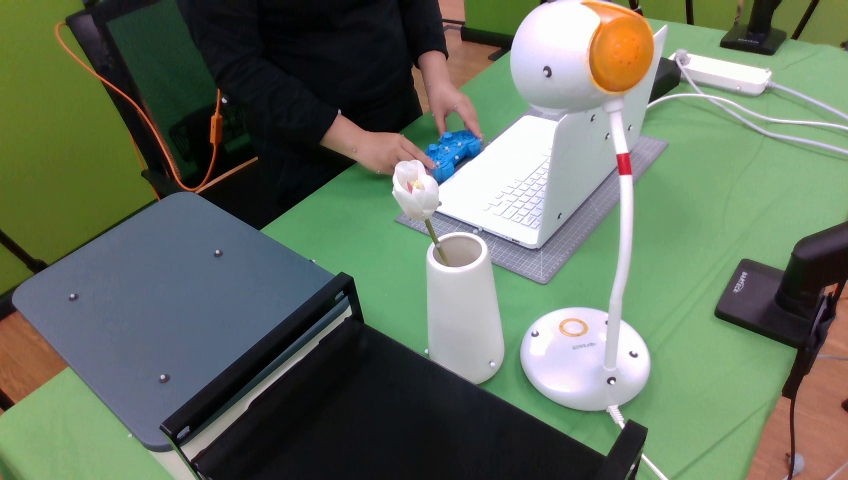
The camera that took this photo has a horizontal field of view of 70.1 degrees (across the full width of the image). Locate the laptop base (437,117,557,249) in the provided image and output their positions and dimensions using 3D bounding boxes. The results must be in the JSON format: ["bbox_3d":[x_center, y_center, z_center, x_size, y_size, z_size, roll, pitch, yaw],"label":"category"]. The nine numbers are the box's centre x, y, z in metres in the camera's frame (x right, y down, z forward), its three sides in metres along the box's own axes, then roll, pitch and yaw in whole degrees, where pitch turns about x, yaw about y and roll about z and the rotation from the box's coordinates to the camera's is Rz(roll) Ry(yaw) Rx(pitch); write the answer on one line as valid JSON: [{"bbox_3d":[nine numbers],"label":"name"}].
[{"bbox_3d":[0.192,-0.117,1.087,0.233,0.023,0.355,21,48,34],"label":"laptop base"}]

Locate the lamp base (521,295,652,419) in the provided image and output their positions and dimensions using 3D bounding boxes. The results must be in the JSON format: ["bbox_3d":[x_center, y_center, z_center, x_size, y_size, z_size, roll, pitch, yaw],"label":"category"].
[{"bbox_3d":[0.200,0.095,0.710,0.161,0.181,0.177,-16,43,-10],"label":"lamp base"}]

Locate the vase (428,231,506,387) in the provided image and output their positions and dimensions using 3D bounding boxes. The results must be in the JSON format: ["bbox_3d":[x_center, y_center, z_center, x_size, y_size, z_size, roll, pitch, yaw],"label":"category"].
[{"bbox_3d":[0.050,0.087,0.728,0.098,0.201,0.097,-3,40,3],"label":"vase"}]

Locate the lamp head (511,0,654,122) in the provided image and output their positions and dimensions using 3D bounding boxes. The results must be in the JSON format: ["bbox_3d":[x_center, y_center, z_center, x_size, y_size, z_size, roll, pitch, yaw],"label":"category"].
[{"bbox_3d":[0.155,-0.168,0.564,0.113,0.113,0.122,-18,23,-12],"label":"lamp head"}]

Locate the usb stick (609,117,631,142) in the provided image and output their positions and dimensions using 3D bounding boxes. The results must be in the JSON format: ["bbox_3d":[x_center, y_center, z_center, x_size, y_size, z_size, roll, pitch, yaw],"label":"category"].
[{"bbox_3d":[0.370,-0.208,1.147,0.021,0.027,0.059,26,55,32],"label":"usb stick"}]

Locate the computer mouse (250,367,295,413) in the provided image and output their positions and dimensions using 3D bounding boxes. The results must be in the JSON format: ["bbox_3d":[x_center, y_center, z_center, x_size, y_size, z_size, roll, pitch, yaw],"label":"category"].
[{"bbox_3d":[-0.196,0.181,0.772,0.063,0.041,0.116,-12,47,-11],"label":"computer mouse"}]

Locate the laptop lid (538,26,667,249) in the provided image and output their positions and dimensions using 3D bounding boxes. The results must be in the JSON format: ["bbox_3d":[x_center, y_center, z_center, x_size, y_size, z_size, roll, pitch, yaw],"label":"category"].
[{"bbox_3d":[0.281,-0.163,0.942,0.013,0.242,0.358,28,50,27],"label":"laptop lid"}]

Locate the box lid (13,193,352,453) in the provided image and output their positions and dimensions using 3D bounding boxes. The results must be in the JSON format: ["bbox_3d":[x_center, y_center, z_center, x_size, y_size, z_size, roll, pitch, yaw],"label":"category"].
[{"bbox_3d":[-0.291,0.067,0.716,0.368,0.015,0.264,25,50,33],"label":"box lid"}]

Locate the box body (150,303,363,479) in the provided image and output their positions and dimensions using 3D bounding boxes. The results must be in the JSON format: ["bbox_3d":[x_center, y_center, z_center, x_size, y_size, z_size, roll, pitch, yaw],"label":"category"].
[{"bbox_3d":[-0.284,0.123,0.765,0.361,0.161,0.255,25,49,33],"label":"box body"}]

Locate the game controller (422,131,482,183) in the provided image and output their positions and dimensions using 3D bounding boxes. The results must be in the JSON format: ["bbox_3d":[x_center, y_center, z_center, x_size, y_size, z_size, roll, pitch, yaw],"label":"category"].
[{"bbox_3d":[0.040,-0.163,1.145,0.096,0.052,0.155,23,50,30],"label":"game controller"}]

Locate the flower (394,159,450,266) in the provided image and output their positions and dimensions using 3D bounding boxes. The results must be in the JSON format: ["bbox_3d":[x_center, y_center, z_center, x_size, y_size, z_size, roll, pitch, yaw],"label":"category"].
[{"bbox_3d":[0.028,0.035,0.665,0.043,0.364,0.038,35,73,29],"label":"flower"}]

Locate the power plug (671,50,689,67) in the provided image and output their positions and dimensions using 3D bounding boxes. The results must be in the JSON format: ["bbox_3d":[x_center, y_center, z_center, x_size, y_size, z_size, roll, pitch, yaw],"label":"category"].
[{"bbox_3d":[0.540,-0.379,1.302,0.073,0.053,0.035,-31,46,-23],"label":"power plug"}]

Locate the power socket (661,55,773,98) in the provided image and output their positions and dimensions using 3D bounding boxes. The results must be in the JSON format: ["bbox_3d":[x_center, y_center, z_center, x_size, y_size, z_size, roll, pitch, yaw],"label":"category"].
[{"bbox_3d":[0.619,-0.353,1.289,0.225,0.033,0.072,26,51,33],"label":"power socket"}]
